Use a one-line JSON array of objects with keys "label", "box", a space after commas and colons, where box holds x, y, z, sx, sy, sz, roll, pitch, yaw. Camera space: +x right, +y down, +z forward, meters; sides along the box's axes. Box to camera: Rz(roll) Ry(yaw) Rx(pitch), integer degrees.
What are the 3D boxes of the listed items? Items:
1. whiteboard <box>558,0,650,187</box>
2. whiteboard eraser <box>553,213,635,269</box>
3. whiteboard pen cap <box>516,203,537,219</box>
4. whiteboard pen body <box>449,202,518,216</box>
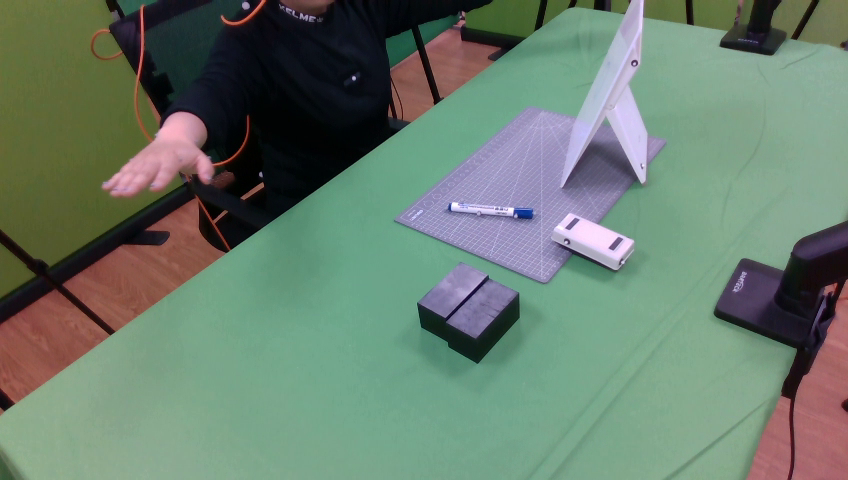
[{"label": "whiteboard", "box": [0.361, -0.238, 1.026, 0.144, 0.306, 0.217, 21, 44, 4]}, {"label": "whiteboard eraser", "box": [0.257, 0.003, 0.918, 0.112, 0.042, 0.056, 27, 49, 30]}, {"label": "whiteboard pen cap", "box": [0.171, -0.048, 1.004, 0.033, 0.018, 0.018, -23, 42, -19]}, {"label": "whiteboard pen body", "box": [0.111, -0.052, 1.021, 0.140, 0.017, 0.017, 6, 42, 16]}]
